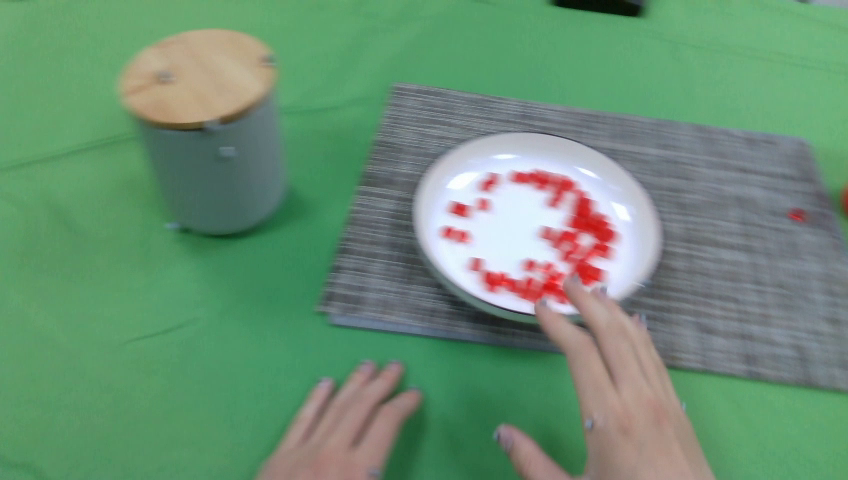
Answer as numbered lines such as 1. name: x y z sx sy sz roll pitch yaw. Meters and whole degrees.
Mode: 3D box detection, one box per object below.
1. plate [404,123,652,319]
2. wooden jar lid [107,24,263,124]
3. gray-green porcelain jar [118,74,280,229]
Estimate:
1. plate: 0.086 -0.017 0.521 0.208 0.039 0.205 3 52 -3
2. wooden jar lid: -0.172 -0.119 0.445 0.108 0.021 0.107 2 54 -3
3. gray-green porcelain jar: -0.177 -0.079 0.495 0.106 0.127 0.105 2 52 -3
